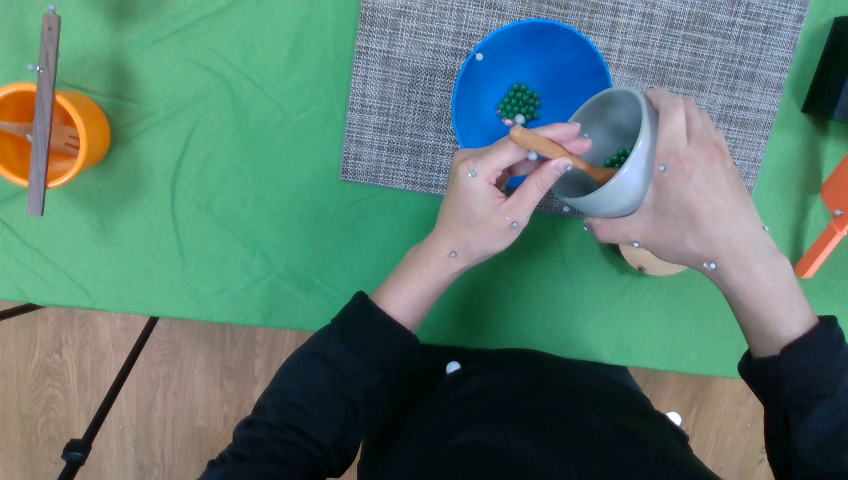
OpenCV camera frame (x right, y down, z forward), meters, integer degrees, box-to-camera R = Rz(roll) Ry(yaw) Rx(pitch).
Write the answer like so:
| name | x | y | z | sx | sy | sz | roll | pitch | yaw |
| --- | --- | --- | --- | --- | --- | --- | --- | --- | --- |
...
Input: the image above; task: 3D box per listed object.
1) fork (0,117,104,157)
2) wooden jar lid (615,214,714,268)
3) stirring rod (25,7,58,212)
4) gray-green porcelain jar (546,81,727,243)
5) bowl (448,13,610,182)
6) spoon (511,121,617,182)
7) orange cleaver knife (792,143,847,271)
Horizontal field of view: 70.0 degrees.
| name | x | y | z | sx | sy | sz | roll | pitch | yaw |
| --- | --- | --- | --- | --- | --- | --- | --- | --- | --- |
| fork | -0.381 | -0.107 | 0.515 | 0.028 | 0.018 | 0.209 | -52 | 148 | 17 |
| wooden jar lid | 0.261 | -0.022 | 0.664 | 0.108 | 0.020 | 0.109 | -1 | 112 | -3 |
| stirring rod | -0.328 | -0.108 | 0.518 | 0.014 | 0.006 | 0.176 | 11 | 106 | -11 |
| gray-green porcelain jar | 0.188 | -0.061 | 0.528 | 0.127 | 0.105 | 0.106 | 24 | 103 | -27 |
| bowl | 0.094 | -0.136 | 0.585 | 0.151 | 0.076 | 0.152 | -2 | 107 | -5 |
| spoon | 0.125 | -0.062 | 0.480 | 0.195 | 0.021 | 0.042 | 14 | 120 | -43 |
| orange cleaver knife | 0.450 | -0.055 | 0.644 | 0.012 | 0.076 | 0.213 | 3 | 135 | -9 |
